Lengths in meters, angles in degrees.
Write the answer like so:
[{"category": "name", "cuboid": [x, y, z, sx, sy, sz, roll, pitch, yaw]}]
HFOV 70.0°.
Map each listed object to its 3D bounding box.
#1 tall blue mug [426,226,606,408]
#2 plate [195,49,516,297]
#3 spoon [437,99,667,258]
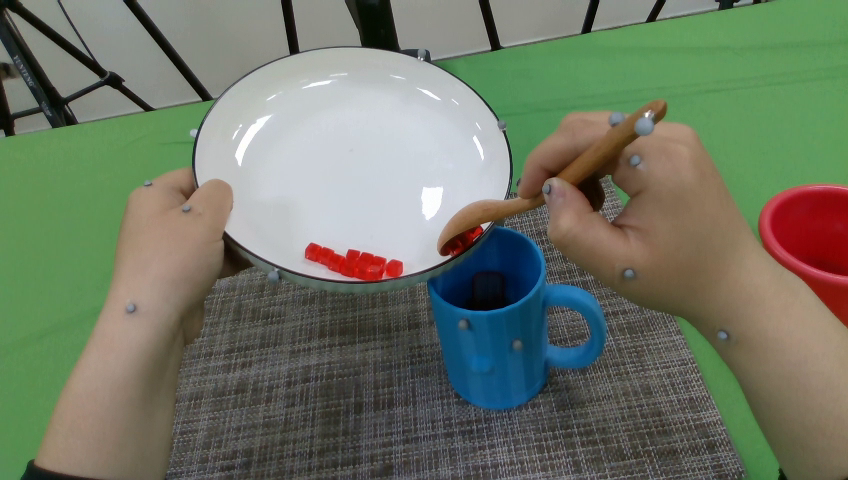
[{"category": "tall blue mug", "cuboid": [0.061, 0.051, 0.416, 0.107, 0.109, 0.077, -14, 43, -2]}, {"category": "plate", "cuboid": [-0.043, -0.048, 0.412, 0.208, 0.039, 0.205, 3, 56, -4]}, {"category": "spoon", "cuboid": [0.051, -0.022, 0.295, 0.041, 0.193, 0.021, -34, 92, -25]}]
